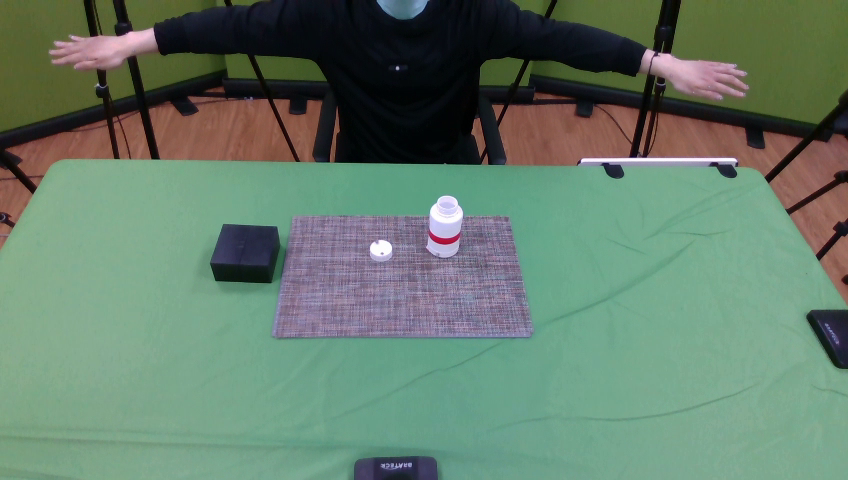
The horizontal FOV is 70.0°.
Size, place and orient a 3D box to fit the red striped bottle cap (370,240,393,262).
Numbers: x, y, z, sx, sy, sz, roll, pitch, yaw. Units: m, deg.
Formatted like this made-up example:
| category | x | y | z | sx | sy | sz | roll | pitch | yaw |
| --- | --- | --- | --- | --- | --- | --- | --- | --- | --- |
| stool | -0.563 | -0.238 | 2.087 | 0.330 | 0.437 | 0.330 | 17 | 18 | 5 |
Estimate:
| category | x | y | z | sx | sy | sz | roll | pitch | yaw |
| --- | --- | --- | --- | --- | --- | --- | --- | --- | --- |
| red striped bottle cap | -0.082 | 0.020 | 1.168 | 0.044 | 0.018 | 0.044 | -2 | 47 | 3 |

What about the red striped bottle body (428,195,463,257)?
| category | x | y | z | sx | sy | sz | roll | pitch | yaw |
| --- | --- | --- | --- | --- | --- | --- | --- | --- | --- |
| red striped bottle body | 0.041 | -0.028 | 1.152 | 0.063 | 0.120 | 0.062 | 2 | 46 | -2 |
